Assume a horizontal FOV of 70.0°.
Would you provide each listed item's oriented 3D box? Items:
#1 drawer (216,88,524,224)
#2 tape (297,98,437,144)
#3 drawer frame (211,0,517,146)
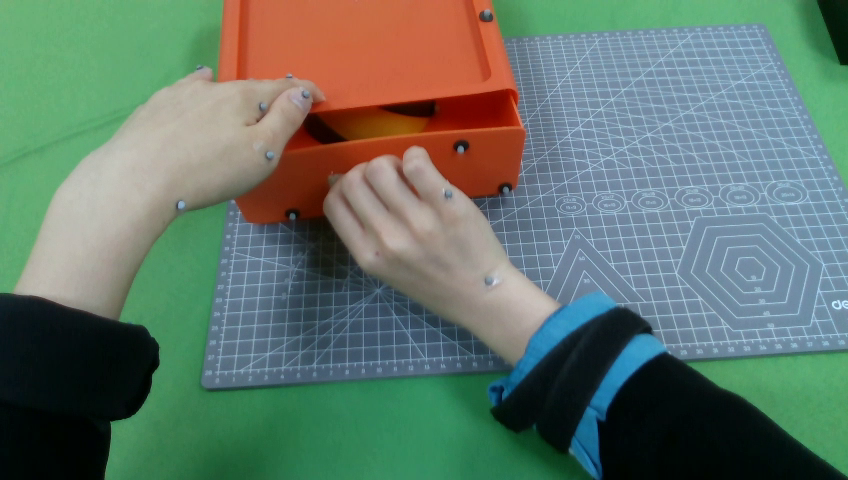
[{"bbox_3d":[-0.044,-0.124,0.455,0.194,0.074,0.209,-8,58,-2],"label":"drawer"},{"bbox_3d":[-0.047,-0.127,0.463,0.117,0.053,0.116,0,59,1],"label":"tape"},{"bbox_3d":[-0.050,-0.153,0.470,0.202,0.083,0.211,-8,59,-3],"label":"drawer frame"}]
